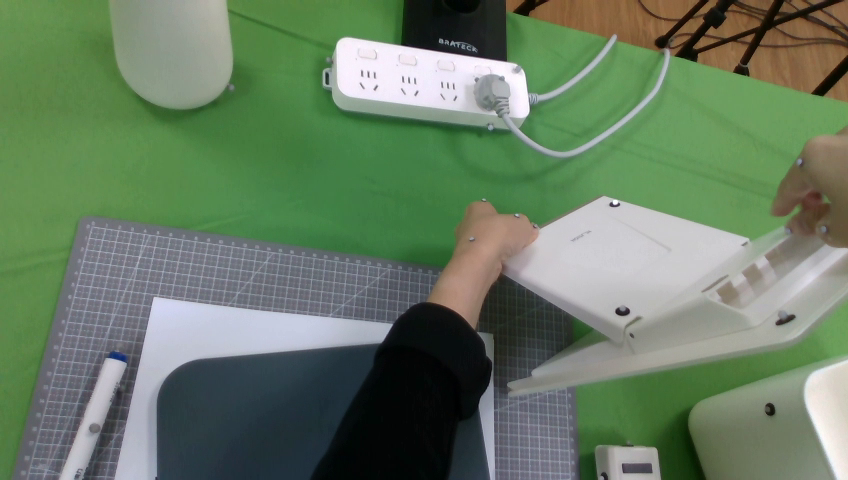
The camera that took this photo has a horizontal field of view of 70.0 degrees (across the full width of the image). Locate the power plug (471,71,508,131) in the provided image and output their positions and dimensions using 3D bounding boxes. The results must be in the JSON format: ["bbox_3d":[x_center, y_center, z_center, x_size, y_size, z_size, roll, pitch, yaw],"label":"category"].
[{"bbox_3d":[0.064,-0.140,0.623,0.035,0.053,0.072,13,73,-13],"label":"power plug"}]

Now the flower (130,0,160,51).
[{"bbox_3d":[-0.163,-0.209,0.413,0.044,0.360,0.038,-40,103,-36],"label":"flower"}]

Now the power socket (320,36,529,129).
[{"bbox_3d":[0.007,-0.163,0.637,0.228,0.032,0.071,4,70,-18],"label":"power socket"}]

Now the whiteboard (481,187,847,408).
[{"bbox_3d":[0.181,0.000,0.481,0.217,0.306,0.143,-25,79,-26],"label":"whiteboard"}]

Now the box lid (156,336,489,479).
[{"bbox_3d":[-0.062,0.260,0.464,0.264,0.015,0.369,-2,72,-20],"label":"box lid"}]

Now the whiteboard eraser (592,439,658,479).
[{"bbox_3d":[0.181,0.237,0.540,0.056,0.042,0.112,7,68,-19],"label":"whiteboard eraser"}]

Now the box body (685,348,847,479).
[{"bbox_3d":[0.426,0.278,0.540,0.255,0.161,0.361,-10,73,-22],"label":"box body"}]

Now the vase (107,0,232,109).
[{"bbox_3d":[-0.205,-0.192,0.483,0.098,0.200,0.097,6,68,-15],"label":"vase"}]

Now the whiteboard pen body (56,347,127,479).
[{"bbox_3d":[-0.245,0.147,0.435,0.017,0.017,0.140,16,68,-12],"label":"whiteboard pen body"}]
